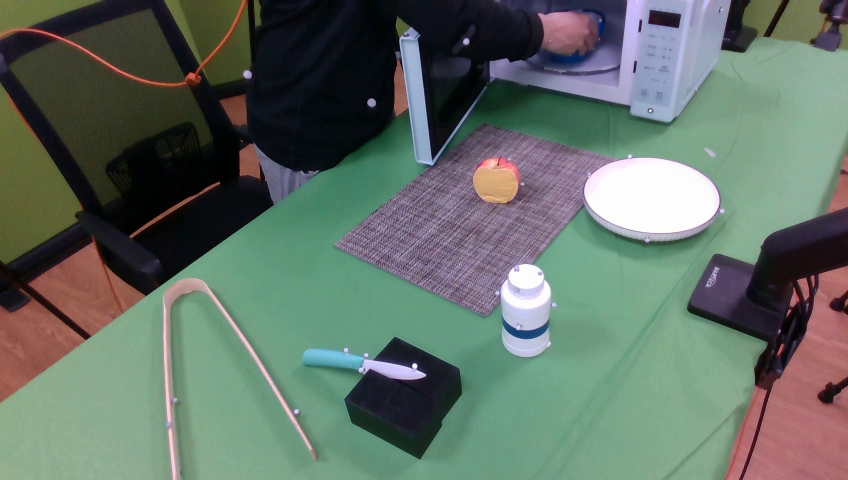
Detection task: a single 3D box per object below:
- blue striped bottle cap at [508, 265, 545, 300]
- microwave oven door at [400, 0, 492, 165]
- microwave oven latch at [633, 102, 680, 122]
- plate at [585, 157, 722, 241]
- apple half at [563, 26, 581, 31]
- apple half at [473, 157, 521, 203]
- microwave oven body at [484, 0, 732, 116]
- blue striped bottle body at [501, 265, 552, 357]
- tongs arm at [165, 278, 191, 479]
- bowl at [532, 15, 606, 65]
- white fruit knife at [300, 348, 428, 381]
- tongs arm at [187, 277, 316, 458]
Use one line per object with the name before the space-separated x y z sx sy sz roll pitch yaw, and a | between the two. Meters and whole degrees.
blue striped bottle cap | 0.125 0.051 0.734 0.044 0.021 0.044 -5 36 4
microwave oven door | 0.055 -0.344 1.167 0.039 0.245 0.356 11 44 21
microwave oven latch | 0.444 -0.249 1.158 0.078 0.029 0.030 21 49 30
plate | 0.367 -0.063 0.979 0.207 0.039 0.206 -4 41 4
apple half | 0.305 -0.425 1.266 0.081 0.033 0.081 -15 39 13
apple half | 0.127 -0.106 1.030 0.080 0.075 0.053 4 36 19
microwave oven body | 0.377 -0.463 1.267 0.438 0.261 0.327 21 49 30
blue striped bottle body | 0.130 0.089 0.769 0.063 0.121 0.063 -4 40 4
tongs arm | -0.313 0.182 0.789 0.051 0.026 0.381 -20 41 -13
bowl | 0.307 -0.417 1.273 0.151 0.077 0.151 -9 28 5
white fruit knife | -0.079 0.154 0.748 0.206 0.027 0.016 1 21 34
tongs arm | -0.240 0.153 0.815 0.028 0.028 0.384 -32 46 -21
